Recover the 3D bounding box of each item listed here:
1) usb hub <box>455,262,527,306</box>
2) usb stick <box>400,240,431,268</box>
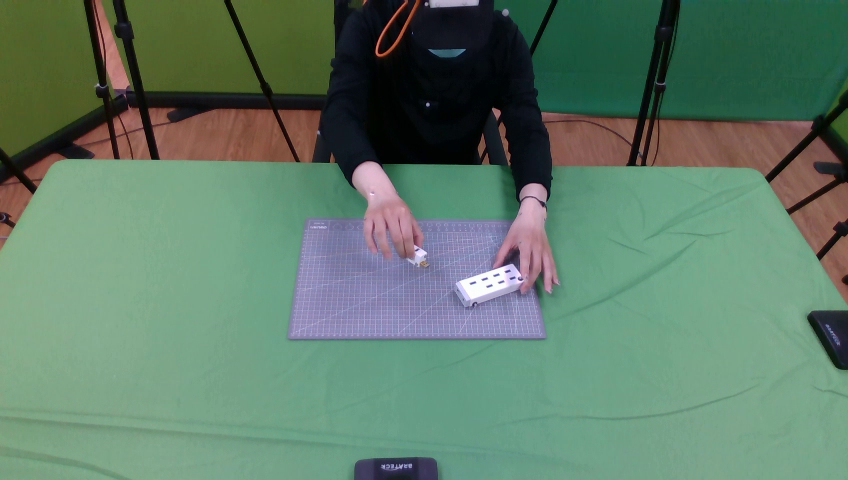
[{"bbox_3d":[0.124,0.082,1.117,0.125,0.025,0.049,-17,50,-18],"label":"usb hub"},{"bbox_3d":[-0.012,0.026,1.072,0.059,0.027,0.021,36,37,20],"label":"usb stick"}]
